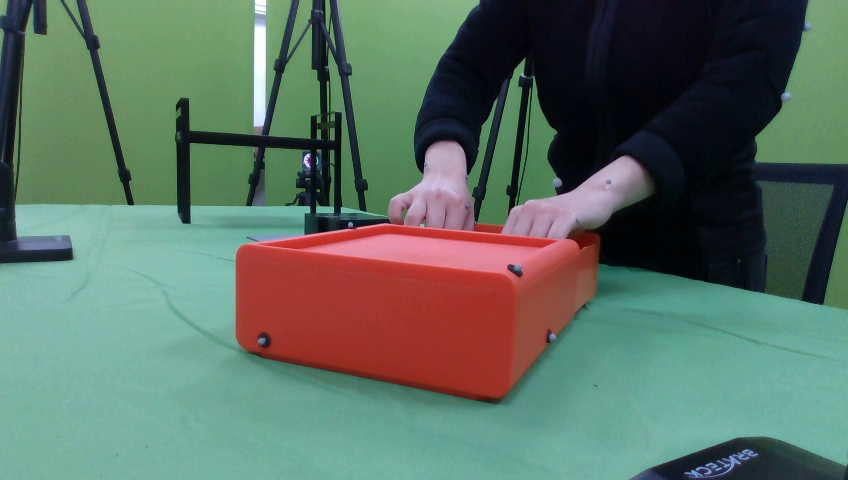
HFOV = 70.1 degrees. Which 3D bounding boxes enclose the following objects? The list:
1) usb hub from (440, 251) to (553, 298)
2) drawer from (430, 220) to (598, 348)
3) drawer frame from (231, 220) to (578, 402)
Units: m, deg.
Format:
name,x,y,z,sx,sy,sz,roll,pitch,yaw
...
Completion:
name,x,y,z,sx,sy,sz,roll,pitch,yaw
usb hub,0.071,0.033,0.624,0.050,0.025,0.124,-8,11,-33
drawer,0.050,0.032,0.582,0.194,0.073,0.212,6,11,24
drawer frame,0.001,0.038,0.474,0.201,0.082,0.214,6,9,22
